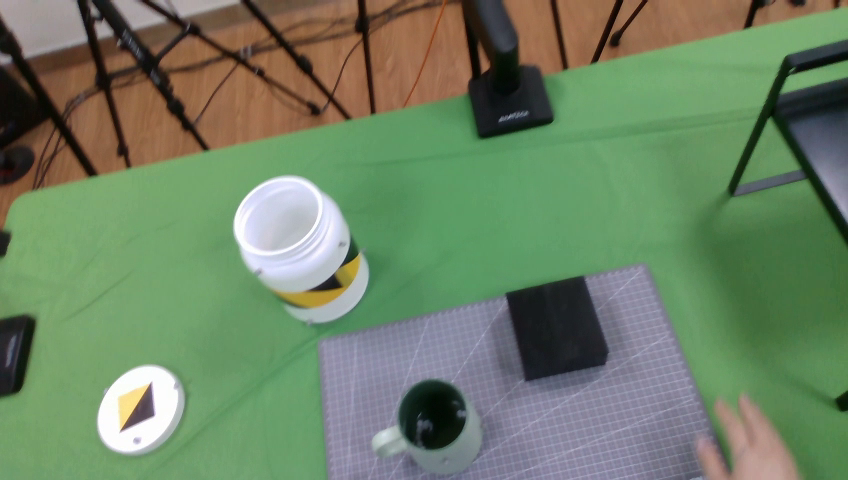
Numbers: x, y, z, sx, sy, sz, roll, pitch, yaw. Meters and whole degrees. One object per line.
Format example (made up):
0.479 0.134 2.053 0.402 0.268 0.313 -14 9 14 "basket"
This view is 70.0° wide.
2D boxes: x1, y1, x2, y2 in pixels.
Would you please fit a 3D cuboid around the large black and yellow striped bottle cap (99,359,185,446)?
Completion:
-0.378 0.216 0.812 0.115 0.019 0.114 -5 60 8 "large black and yellow striped bottle cap"

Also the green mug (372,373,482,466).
0.002 0.210 0.689 0.125 0.106 0.091 -22 59 -1 "green mug"

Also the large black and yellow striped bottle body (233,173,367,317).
-0.158 0.009 0.788 0.130 0.186 0.129 -5 60 8 "large black and yellow striped bottle body"
